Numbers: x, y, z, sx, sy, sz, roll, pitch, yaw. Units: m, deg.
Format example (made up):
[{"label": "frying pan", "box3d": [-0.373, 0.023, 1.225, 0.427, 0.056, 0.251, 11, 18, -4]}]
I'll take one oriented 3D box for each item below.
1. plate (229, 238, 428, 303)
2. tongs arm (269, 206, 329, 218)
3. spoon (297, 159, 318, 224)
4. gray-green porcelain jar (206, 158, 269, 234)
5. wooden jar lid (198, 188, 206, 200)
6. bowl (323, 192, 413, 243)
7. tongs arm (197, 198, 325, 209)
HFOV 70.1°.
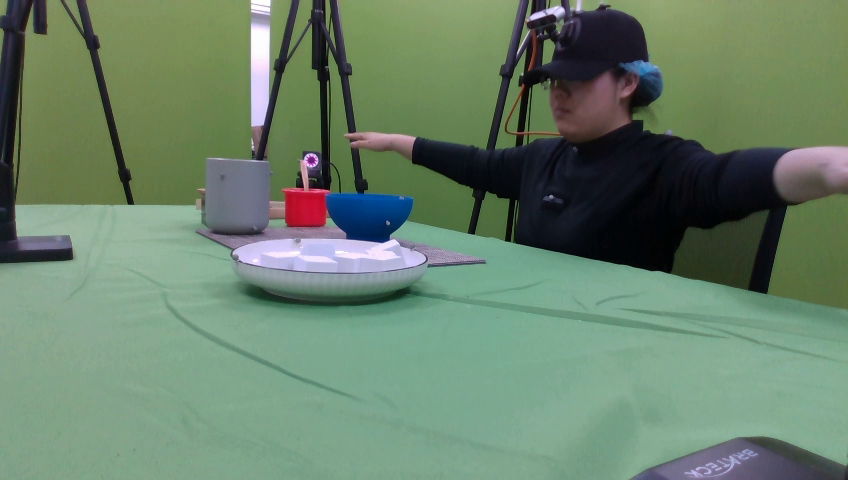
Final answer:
[{"label": "plate", "box3d": [-0.099, 0.032, 0.651, 0.209, 0.038, 0.209, 3, 8, 0]}, {"label": "tongs arm", "box3d": [-0.293, -0.065, 1.383, 0.390, 0.028, 0.028, -3, 7, -42]}, {"label": "spoon", "box3d": [-0.244, -0.103, 1.251, 0.042, 0.021, 0.193, 1, 51, -17]}, {"label": "gray-green porcelain jar", "box3d": [-0.323, -0.076, 1.048, 0.106, 0.126, 0.106, 3, 7, 0]}, {"label": "wooden jar lid", "box3d": [-0.382, -0.088, 1.175, 0.108, 0.020, 0.108, 3, 8, 0]}, {"label": "bowl", "box3d": [-0.094, -0.037, 1.015, 0.151, 0.077, 0.151, 3, 7, 0]}, {"label": "tongs arm", "box3d": [-0.337, -0.079, 1.449, 0.387, 0.026, 0.050, 0, 8, -29]}]
